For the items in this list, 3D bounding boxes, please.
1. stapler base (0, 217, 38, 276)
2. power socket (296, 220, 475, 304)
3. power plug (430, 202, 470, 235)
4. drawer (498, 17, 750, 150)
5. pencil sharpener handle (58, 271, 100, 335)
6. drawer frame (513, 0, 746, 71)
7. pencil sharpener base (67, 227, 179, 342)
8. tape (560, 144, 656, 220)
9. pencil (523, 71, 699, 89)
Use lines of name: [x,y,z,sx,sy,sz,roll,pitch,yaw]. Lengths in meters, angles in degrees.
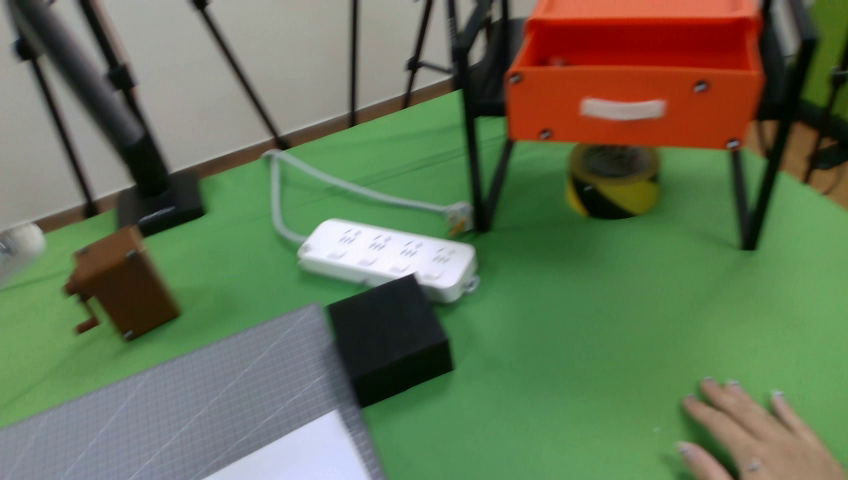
stapler base: [-0.341,0.030,0.439,0.130,0.025,0.041,-44,49,-6]
power socket: [-0.049,0.022,0.712,0.225,0.033,0.072,10,45,24]
power plug: [0.028,-0.022,0.758,0.072,0.035,0.052,-24,18,48]
drawer: [0.187,-0.173,0.571,0.194,0.074,0.210,5,43,18]
pencil sharpener handle: [-0.381,0.070,0.656,0.030,0.068,0.035,-31,23,-20]
drawer frame: [0.213,-0.237,0.633,0.201,0.083,0.212,5,43,18]
pencil sharpener base: [-0.340,0.052,0.686,0.077,0.108,0.060,-30,45,-20]
tape: [0.227,-0.082,0.753,0.117,0.053,0.115,-6,43,6]
pencil: [0.170,-0.153,0.580,0.012,0.012,0.192,-38,36,-27]
